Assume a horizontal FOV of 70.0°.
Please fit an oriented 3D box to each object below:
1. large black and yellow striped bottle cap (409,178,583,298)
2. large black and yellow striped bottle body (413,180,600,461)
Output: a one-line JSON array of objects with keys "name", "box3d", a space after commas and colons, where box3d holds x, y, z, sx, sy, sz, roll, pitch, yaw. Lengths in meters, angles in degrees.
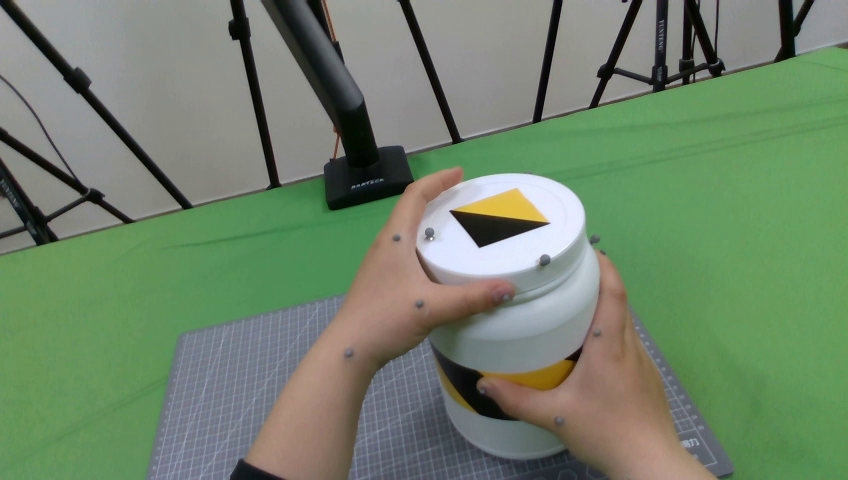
[{"name": "large black and yellow striped bottle cap", "box3d": [0.047, -0.005, 0.403, 0.115, 0.019, 0.114, -7, 36, 6]}, {"name": "large black and yellow striped bottle body", "box3d": [0.064, 0.060, 0.454, 0.130, 0.186, 0.129, -8, 37, 7]}]
